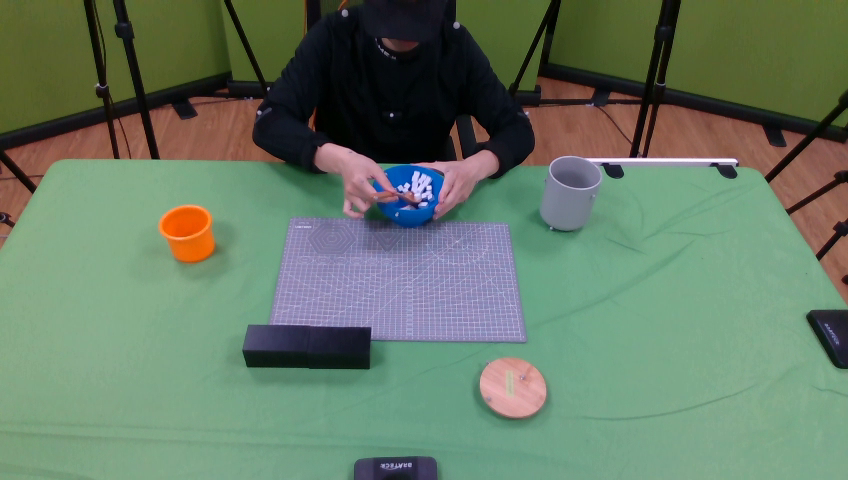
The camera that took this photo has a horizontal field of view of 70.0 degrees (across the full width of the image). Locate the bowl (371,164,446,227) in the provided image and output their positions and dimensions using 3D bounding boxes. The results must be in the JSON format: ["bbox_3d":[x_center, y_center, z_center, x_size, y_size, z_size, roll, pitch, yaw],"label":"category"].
[{"bbox_3d":[-0.032,-0.079,1.229,0.151,0.077,0.150,2,43,-2],"label":"bowl"}]

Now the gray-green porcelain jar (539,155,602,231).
[{"bbox_3d":[0.294,-0.091,1.235,0.106,0.127,0.105,2,46,-2],"label":"gray-green porcelain jar"}]

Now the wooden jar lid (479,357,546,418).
[{"bbox_3d":[0.142,0.240,0.979,0.108,0.021,0.107,1,46,-1],"label":"wooden jar lid"}]

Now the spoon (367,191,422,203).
[{"bbox_3d":[-0.057,-0.086,1.173,0.041,0.021,0.194,34,15,20],"label":"spoon"}]
